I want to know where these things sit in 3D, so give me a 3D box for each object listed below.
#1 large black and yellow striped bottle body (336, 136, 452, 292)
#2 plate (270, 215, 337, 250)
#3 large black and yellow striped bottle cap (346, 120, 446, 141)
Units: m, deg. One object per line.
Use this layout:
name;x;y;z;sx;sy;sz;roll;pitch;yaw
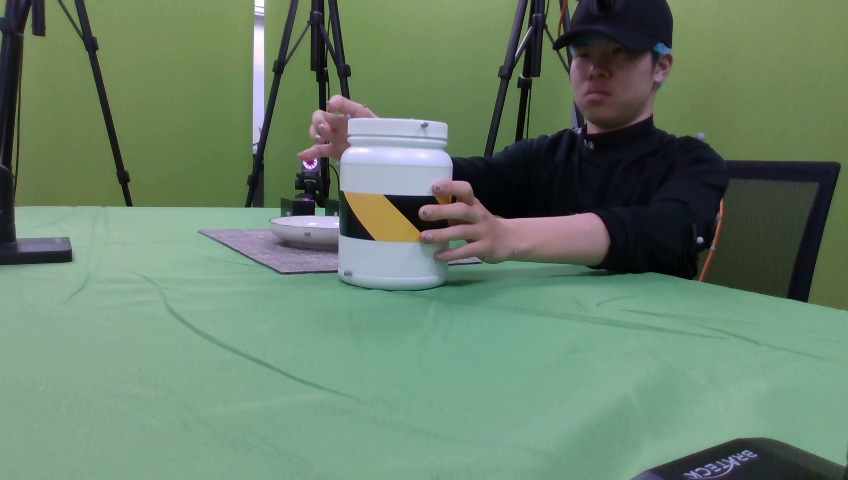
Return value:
large black and yellow striped bottle body;-0.035;-0.041;0.703;0.131;0.184;0.130;3;7;0
plate;-0.146;-0.013;0.991;0.208;0.039;0.207;3;7;0
large black and yellow striped bottle cap;-0.031;-0.125;0.692;0.115;0.019;0.115;2;9;0
